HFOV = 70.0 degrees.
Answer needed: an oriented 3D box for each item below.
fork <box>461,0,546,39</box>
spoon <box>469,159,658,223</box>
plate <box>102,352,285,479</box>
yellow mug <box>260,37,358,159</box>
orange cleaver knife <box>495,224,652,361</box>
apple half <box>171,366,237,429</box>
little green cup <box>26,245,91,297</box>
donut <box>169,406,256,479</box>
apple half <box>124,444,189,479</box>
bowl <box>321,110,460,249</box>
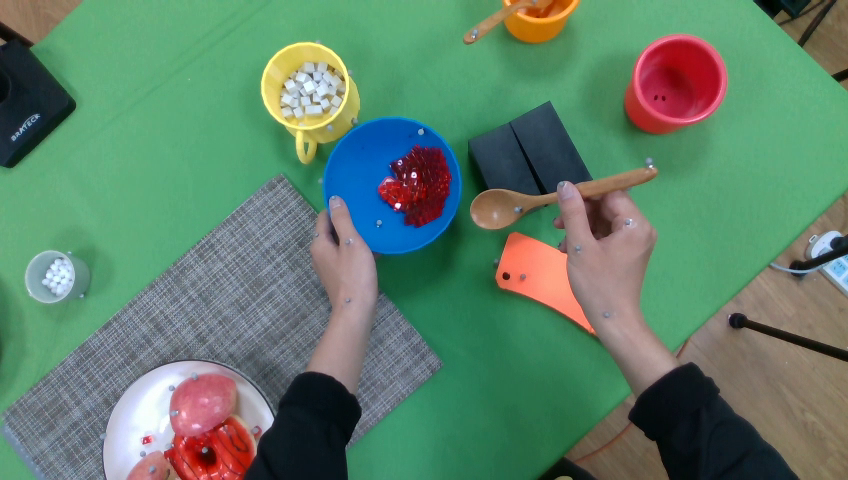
[{"bbox_3d":[0.094,-0.251,0.649,0.028,0.019,0.207,42,46,5],"label":"fork"},{"bbox_3d":[0.117,-0.044,0.545,0.021,0.193,0.042,-29,103,-40],"label":"spoon"},{"bbox_3d":[-0.259,0.231,0.695,0.209,0.038,0.208,0,87,4],"label":"plate"},{"bbox_3d":[-0.133,-0.158,0.700,0.100,0.064,0.130,6,88,4],"label":"yellow mug"},{"bbox_3d":[0.175,0.059,0.691,0.211,0.012,0.077,33,85,6],"label":"orange cleaver knife"},{"bbox_3d":[-0.248,0.166,0.672,0.081,0.033,0.080,-9,46,9],"label":"apple half"},{"bbox_3d":[-0.432,0.037,0.721,0.061,0.039,0.061,0,86,4],"label":"little green cup"},{"bbox_3d":[-0.238,0.232,0.683,0.099,0.048,0.099,0,91,3],"label":"donut"},{"bbox_3d":[-0.298,0.274,0.664,0.080,0.053,0.075,53,131,6],"label":"apple half"},{"bbox_3d":[-0.034,-0.062,0.681,0.151,0.077,0.151,0,86,2],"label":"bowl"}]
